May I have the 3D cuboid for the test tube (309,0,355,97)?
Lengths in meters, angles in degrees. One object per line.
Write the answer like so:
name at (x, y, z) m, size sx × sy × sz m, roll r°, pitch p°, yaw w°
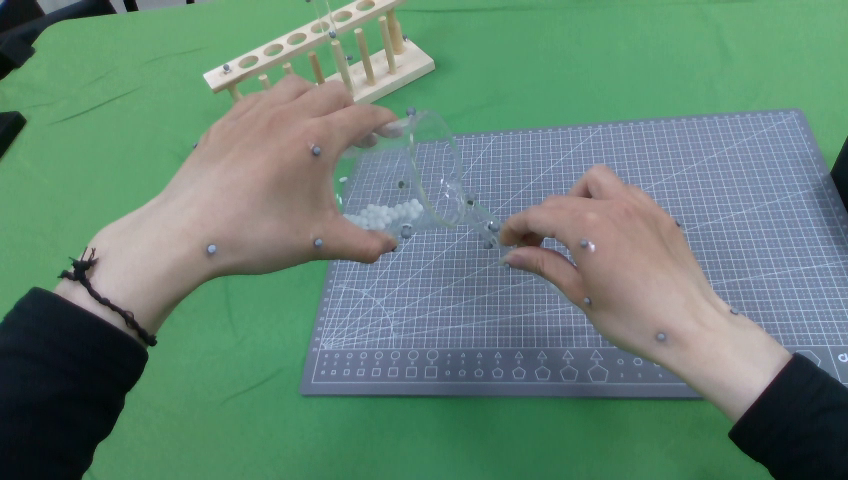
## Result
test tube at (-0.101, -0.217, 0.648) m, size 0.017 × 0.152 × 0.017 m, roll -6°, pitch 50°, yaw 8°

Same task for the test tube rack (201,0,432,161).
test tube rack at (-0.115, -0.193, 0.690) m, size 0.242 × 0.086 × 0.066 m, roll -31°, pitch 52°, yaw -12°

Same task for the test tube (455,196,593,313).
test tube at (0.076, 0.015, 0.431) m, size 0.017 × 0.152 × 0.017 m, roll -33°, pitch 37°, yaw 30°

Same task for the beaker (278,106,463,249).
beaker at (-0.034, -0.035, 0.389) m, size 0.100 × 0.084 × 0.073 m, roll -11°, pitch 80°, yaw 25°
